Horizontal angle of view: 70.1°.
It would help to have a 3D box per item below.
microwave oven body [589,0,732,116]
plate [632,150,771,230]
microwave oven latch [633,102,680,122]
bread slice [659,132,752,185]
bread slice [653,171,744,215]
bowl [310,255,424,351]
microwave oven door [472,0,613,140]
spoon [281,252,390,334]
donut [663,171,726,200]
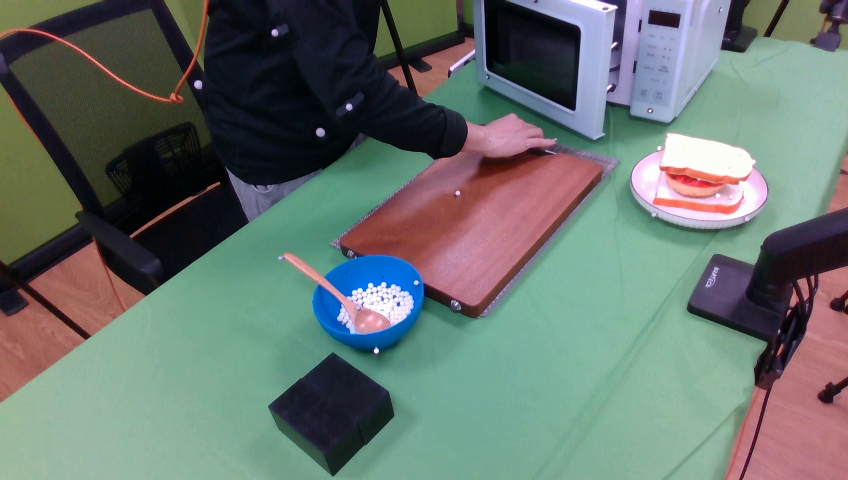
[{"bbox_3d":[0.377,-0.462,1.267,0.438,0.261,0.327,21,48,30],"label":"microwave oven body"},{"bbox_3d":[0.447,-0.081,0.988,0.207,0.039,0.206,-4,40,4],"label":"plate"},{"bbox_3d":[0.444,-0.249,1.157,0.078,0.029,0.030,22,49,31],"label":"microwave oven latch"},{"bbox_3d":[0.443,-0.126,0.951,0.134,0.018,0.107,14,43,14],"label":"bread slice"},{"bbox_3d":[0.452,-0.084,0.992,0.131,0.019,0.105,11,45,21],"label":"bread slice"},{"bbox_3d":[-0.072,0.098,0.821,0.151,0.077,0.150,-4,40,4],"label":"bowl"},{"bbox_3d":[0.216,-0.367,1.171,0.039,0.245,0.352,-28,45,-23],"label":"microwave oven door"},{"bbox_3d":[-0.122,0.070,0.811,0.193,0.022,0.042,38,63,16],"label":"spoon"},{"bbox_3d":[0.437,-0.104,0.972,0.099,0.048,0.098,-11,42,10],"label":"donut"}]
